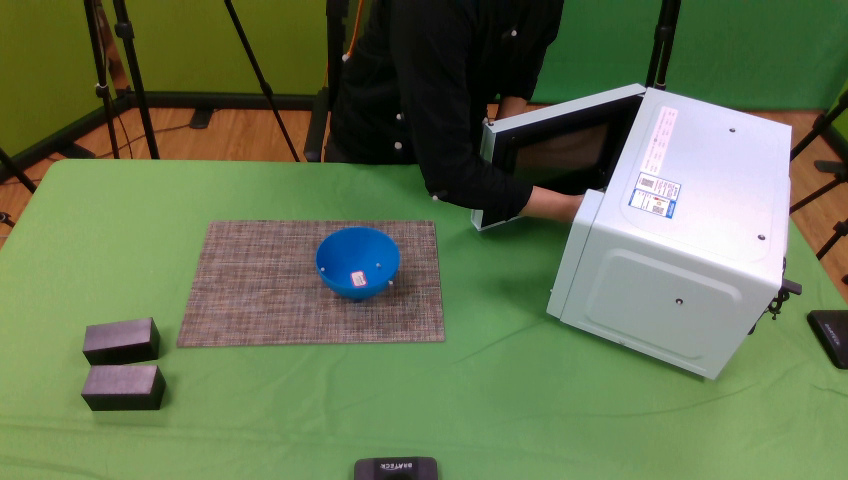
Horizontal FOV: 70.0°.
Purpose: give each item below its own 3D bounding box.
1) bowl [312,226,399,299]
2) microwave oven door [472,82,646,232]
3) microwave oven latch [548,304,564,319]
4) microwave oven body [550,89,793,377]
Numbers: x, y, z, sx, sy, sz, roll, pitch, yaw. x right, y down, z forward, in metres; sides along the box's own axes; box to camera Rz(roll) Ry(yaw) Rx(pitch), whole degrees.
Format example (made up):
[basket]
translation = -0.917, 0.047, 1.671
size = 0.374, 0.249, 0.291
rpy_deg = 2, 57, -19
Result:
[bowl]
translation = -0.120, 0.054, 1.091
size = 0.151, 0.077, 0.150
rpy_deg = 2, 46, -2
[microwave oven door]
translation = 0.266, -0.164, 1.198
size = 0.356, 0.245, 0.039
rpy_deg = -19, 49, -20
[microwave oven latch]
translation = 0.243, 0.103, 1.083
size = 0.030, 0.029, 0.079
rpy_deg = 19, 47, 15
[microwave oven body]
translation = 0.457, -0.027, 1.088
size = 0.325, 0.261, 0.440
rpy_deg = 20, 47, 16
